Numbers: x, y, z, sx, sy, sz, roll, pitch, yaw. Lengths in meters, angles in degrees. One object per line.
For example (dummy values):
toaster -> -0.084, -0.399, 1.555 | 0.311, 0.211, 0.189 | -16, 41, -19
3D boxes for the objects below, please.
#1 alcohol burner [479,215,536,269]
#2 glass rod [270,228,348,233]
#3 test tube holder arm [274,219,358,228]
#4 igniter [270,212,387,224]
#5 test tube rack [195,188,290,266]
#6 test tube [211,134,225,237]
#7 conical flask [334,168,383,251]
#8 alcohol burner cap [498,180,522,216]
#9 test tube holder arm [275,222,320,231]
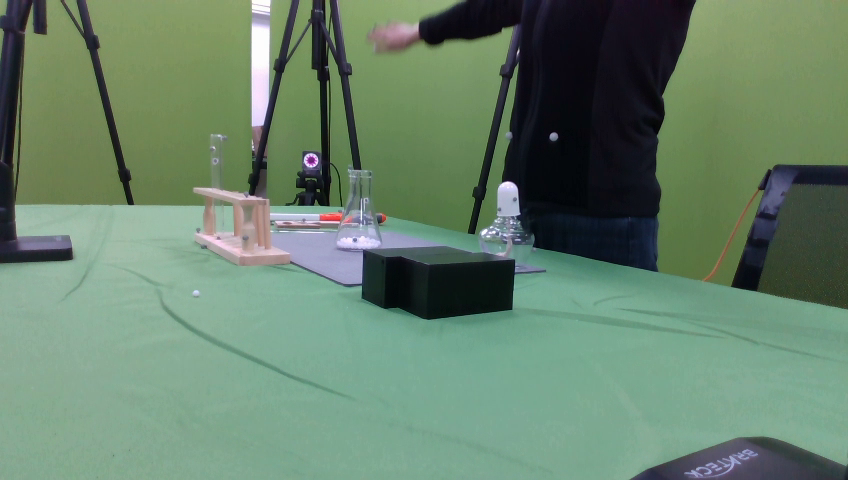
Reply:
alcohol burner -> 0.114, -0.021, 0.816 | 0.078, 0.119, 0.078 | 2, 9, 0
glass rod -> -0.234, -0.017, 1.104 | 0.201, 0.008, 0.008 | 1, 7, -26
test tube holder arm -> -0.206, -0.032, 1.176 | 0.179, 0.015, 0.013 | -4, 46, -39
igniter -> -0.213, -0.048, 1.278 | 0.278, 0.025, 0.057 | -1, -2, -25
test tube rack -> -0.266, -0.025, 0.864 | 0.067, 0.085, 0.241 | -2, 9, -33
test tube -> -0.300, -0.078, 0.881 | 0.017, 0.150, 0.017 | 3, 12, 0
conical flask -> -0.098, -0.047, 0.920 | 0.075, 0.122, 0.075 | 2, 7, 0
alcohol burner cap -> 0.114, -0.056, 0.810 | 0.034, 0.048, 0.034 | -5, 12, 1
test tube holder arm -> -0.238, -0.026, 1.145 | 0.088, 0.015, 0.010 | -3, 45, -39
